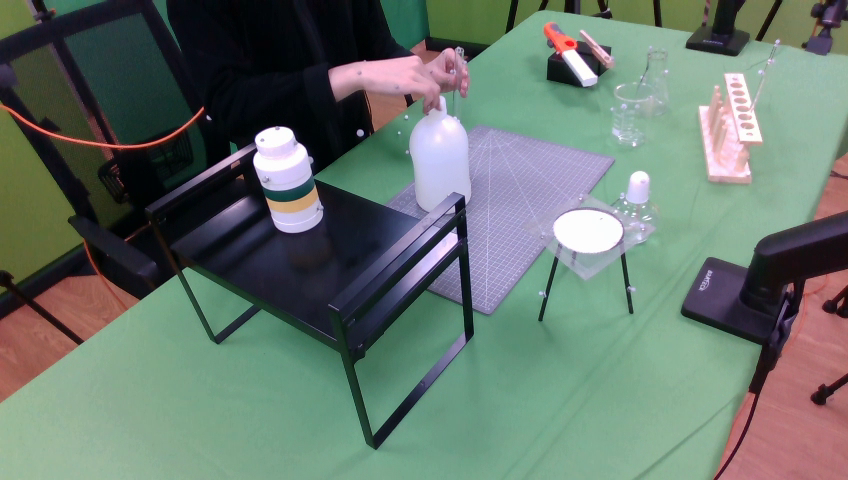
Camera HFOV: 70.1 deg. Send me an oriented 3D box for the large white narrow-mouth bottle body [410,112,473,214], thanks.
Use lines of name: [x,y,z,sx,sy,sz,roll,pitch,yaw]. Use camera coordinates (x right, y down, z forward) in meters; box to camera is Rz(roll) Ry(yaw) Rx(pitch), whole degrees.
large white narrow-mouth bottle body: [0.027,-0.145,1.007,0.102,0.195,0.101,-5,40,4]

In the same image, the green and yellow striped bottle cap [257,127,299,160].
green and yellow striped bottle cap: [-0.169,-0.112,0.698,0.045,0.020,0.045,-5,40,5]

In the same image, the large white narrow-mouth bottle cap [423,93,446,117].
large white narrow-mouth bottle cap: [0.016,-0.213,0.952,0.038,0.024,0.037,-5,39,4]

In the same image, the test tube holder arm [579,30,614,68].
test tube holder arm: [0.384,-0.428,1.351,0.013,0.015,0.177,-11,41,-3]

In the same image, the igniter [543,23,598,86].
igniter: [0.320,-0.419,1.345,0.057,0.025,0.274,-12,44,-3]

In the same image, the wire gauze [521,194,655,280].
wire gauze: [0.207,-0.012,0.772,0.122,0.011,0.124,-28,44,-20]

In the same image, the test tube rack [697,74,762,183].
test tube rack: [0.547,-0.208,1.095,0.066,0.085,0.242,5,42,15]

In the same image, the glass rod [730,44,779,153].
glass rod: [0.555,-0.234,1.021,0.008,0.200,0.008,2,40,-1]

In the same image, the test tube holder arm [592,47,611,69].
test tube holder arm: [0.386,-0.398,1.317,0.010,0.015,0.087,-10,41,-2]

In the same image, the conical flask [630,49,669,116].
conical flask: [0.457,-0.317,1.205,0.075,0.122,0.075,-4,41,4]

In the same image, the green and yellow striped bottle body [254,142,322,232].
green and yellow striped bottle body: [-0.166,-0.073,0.732,0.063,0.120,0.063,-4,41,4]

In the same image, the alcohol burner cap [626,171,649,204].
alcohol burner cap: [0.320,-0.081,0.900,0.034,0.048,0.033,-4,42,4]

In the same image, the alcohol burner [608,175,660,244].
alcohol burner: [0.322,-0.053,0.924,0.078,0.119,0.077,-4,43,4]

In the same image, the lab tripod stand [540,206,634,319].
lab tripod stand: [0.217,0.034,0.821,0.148,0.132,0.147,-4,42,4]

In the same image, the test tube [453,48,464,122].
test tube: [0.059,-0.264,1.059,0.017,0.151,0.017,0,44,0]

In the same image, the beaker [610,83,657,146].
beaker: [0.388,-0.235,1.138,0.074,0.101,0.083,-31,45,-25]
